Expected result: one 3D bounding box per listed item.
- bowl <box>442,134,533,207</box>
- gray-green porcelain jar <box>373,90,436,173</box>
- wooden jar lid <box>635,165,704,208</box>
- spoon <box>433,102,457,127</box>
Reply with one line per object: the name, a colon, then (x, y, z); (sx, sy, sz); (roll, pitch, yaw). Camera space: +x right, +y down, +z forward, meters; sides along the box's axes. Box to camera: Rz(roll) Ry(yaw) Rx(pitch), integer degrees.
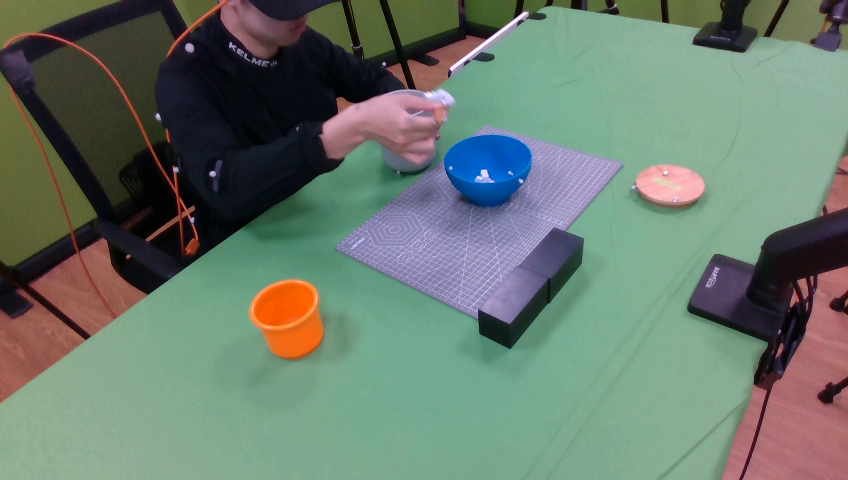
bowl: (0.110, -0.109, 1.033); (0.151, 0.077, 0.150); (-4, 41, 4)
gray-green porcelain jar: (-0.034, -0.198, 1.125); (0.106, 0.127, 0.105); (-4, 41, 4)
wooden jar lid: (0.411, -0.089, 1.014); (0.108, 0.021, 0.108); (-5, 41, 5)
spoon: (0.029, -0.195, 0.935); (0.041, 0.022, 0.193); (-7, 16, 7)
